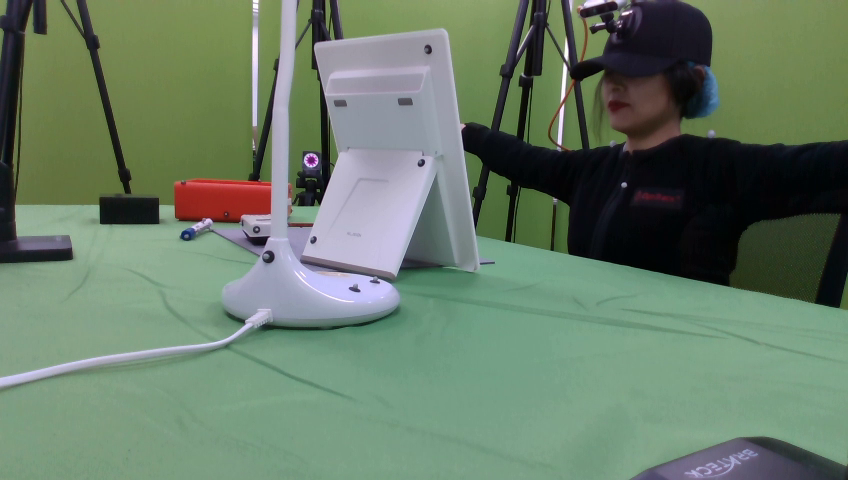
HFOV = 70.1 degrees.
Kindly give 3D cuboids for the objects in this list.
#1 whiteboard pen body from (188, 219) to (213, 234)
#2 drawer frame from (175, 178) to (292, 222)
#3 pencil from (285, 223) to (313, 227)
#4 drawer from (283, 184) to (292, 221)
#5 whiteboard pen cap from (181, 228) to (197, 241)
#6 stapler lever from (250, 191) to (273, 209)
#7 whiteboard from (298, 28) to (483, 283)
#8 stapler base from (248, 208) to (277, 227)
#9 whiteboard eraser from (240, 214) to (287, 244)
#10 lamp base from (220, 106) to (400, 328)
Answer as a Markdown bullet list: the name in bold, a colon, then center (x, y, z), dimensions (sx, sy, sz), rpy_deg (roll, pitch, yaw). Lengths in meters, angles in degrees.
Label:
- **whiteboard pen body**: center (-0.382, -0.020, 1.026), dimensions (0.017, 0.017, 0.140), rpy_deg (2, 9, -6)
- **drawer frame**: center (-0.402, -0.087, 1.311), dimensions (0.214, 0.082, 0.201), rpy_deg (1, 8, -9)
- **pencil**: center (-0.234, -0.030, 1.198), dimensions (0.195, 0.012, 0.012), rpy_deg (0, 8, -20)
- **drawer**: center (-0.397, -0.086, 1.314), dimensions (0.212, 0.073, 0.194), rpy_deg (1, 8, -9)
- **whiteboard pen cap**: center (-0.375, -0.010, 0.968), dimensions (0.018, 0.018, 0.033), rpy_deg (2, 10, -6)
- **stapler lever**: center (-0.350, -0.086, 1.305), dimensions (0.027, 0.040, 0.118), rpy_deg (1, 5, -4)
- **whiteboard**: center (-0.075, -0.082, 0.741), dimensions (0.216, 0.305, 0.144), rpy_deg (9, 30, 38)
- **stapler base**: center (-0.350, -0.053, 1.310), dimensions (0.041, 0.024, 0.130), rpy_deg (1, 13, -4)
- **whiteboard eraser**: center (-0.256, -0.018, 0.958), dimensions (0.056, 0.042, 0.112), rpy_deg (0, 8, -25)
- **lamp base**: center (-0.101, -0.023, 0.531), dimensions (0.160, 0.180, 0.179), rpy_deg (4, 10, 10)
